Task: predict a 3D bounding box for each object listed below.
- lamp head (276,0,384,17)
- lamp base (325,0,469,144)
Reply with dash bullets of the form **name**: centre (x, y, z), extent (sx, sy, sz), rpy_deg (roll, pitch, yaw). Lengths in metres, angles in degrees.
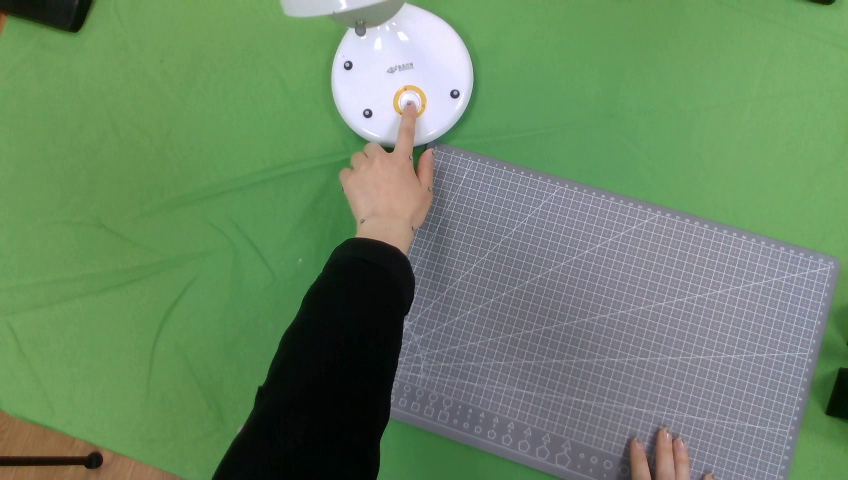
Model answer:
- **lamp head**: centre (-0.043, -0.193, 0.315), extent (0.112, 0.111, 0.124), rpy_deg (-15, 118, 2)
- **lamp base**: centre (-0.042, -0.207, 0.603), extent (0.160, 0.181, 0.178), rpy_deg (-24, 78, 0)
